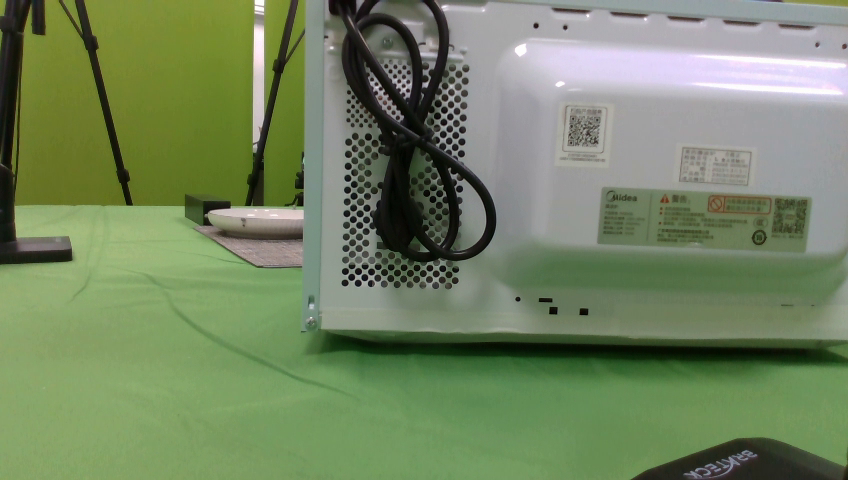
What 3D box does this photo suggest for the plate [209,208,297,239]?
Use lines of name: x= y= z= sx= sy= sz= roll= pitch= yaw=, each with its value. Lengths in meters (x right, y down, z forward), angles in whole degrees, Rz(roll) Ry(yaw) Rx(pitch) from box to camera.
plate: x=-0.271 y=-0.029 z=1.073 sx=0.208 sy=0.039 sz=0.207 roll=3 pitch=7 yaw=0

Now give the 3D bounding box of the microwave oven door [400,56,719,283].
microwave oven door: x=0.155 y=-0.077 z=0.698 sx=0.356 sy=0.243 sz=0.039 roll=2 pitch=8 yaw=-5

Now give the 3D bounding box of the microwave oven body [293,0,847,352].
microwave oven body: x=0.122 y=-0.055 z=0.550 sx=0.442 sy=0.260 sz=0.325 roll=3 pitch=7 yaw=-5

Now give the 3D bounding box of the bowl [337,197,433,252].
bowl: x=-0.062 y=-0.025 z=0.955 sx=0.151 sy=0.077 sz=0.151 roll=3 pitch=8 yaw=0

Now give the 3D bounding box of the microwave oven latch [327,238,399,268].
microwave oven latch: x=-0.069 y=0.015 z=0.694 sx=0.079 sy=0.029 sz=0.030 roll=3 pitch=7 yaw=-3
